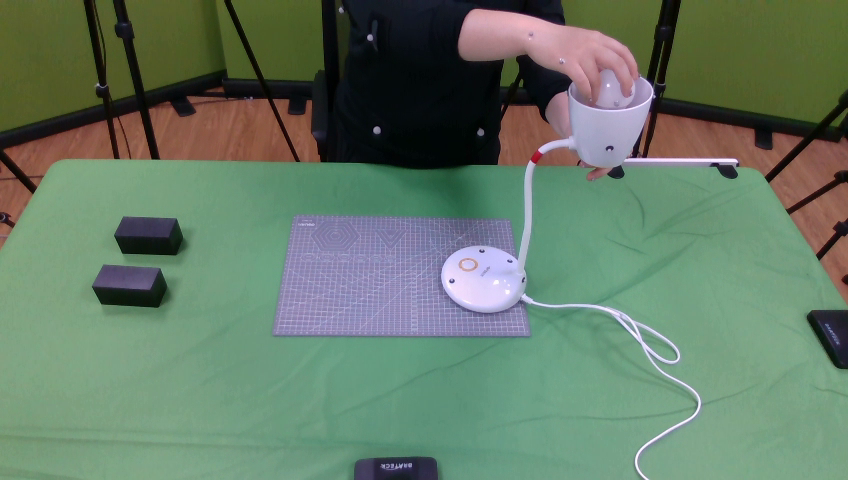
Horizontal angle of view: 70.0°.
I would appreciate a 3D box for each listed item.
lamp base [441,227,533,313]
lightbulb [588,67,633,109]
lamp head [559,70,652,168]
[{"bbox_3d":[0.126,0.022,1.071,0.179,0.181,0.160,23,49,14],"label":"lamp base"},{"bbox_3d":[0.255,-0.187,0.844,0.059,0.108,0.059,0,39,0],"label":"lightbulb"},{"bbox_3d":[0.252,-0.163,0.860,0.112,0.123,0.111,0,43,0],"label":"lamp head"}]
